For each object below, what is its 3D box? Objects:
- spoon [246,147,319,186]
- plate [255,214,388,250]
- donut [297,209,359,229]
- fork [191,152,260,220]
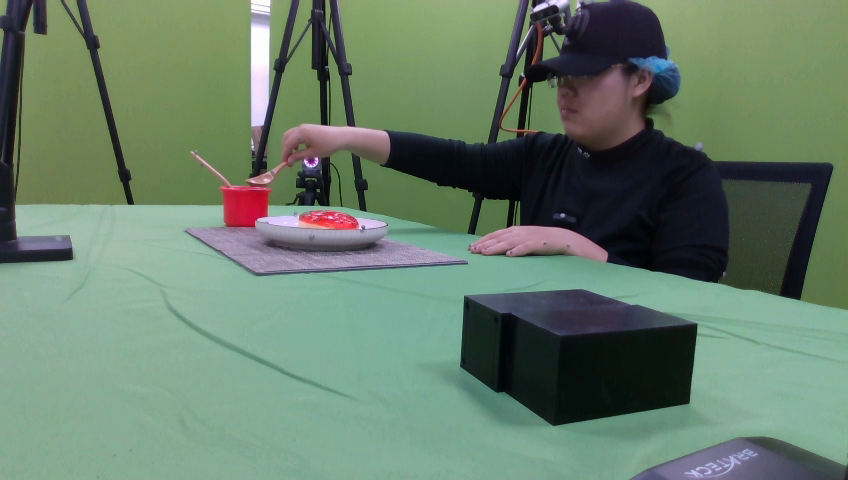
[{"bbox_3d":[-0.268,-0.146,1.178,0.041,0.021,0.194,16,39,30],"label":"spoon"},{"bbox_3d":[-0.161,-0.013,0.961,0.209,0.038,0.209,2,7,0],"label":"plate"},{"bbox_3d":[-0.151,-0.023,0.955,0.099,0.048,0.099,5,7,0],"label":"donut"},{"bbox_3d":[-0.386,-0.104,1.191,0.207,0.018,0.028,46,15,5],"label":"fork"}]
